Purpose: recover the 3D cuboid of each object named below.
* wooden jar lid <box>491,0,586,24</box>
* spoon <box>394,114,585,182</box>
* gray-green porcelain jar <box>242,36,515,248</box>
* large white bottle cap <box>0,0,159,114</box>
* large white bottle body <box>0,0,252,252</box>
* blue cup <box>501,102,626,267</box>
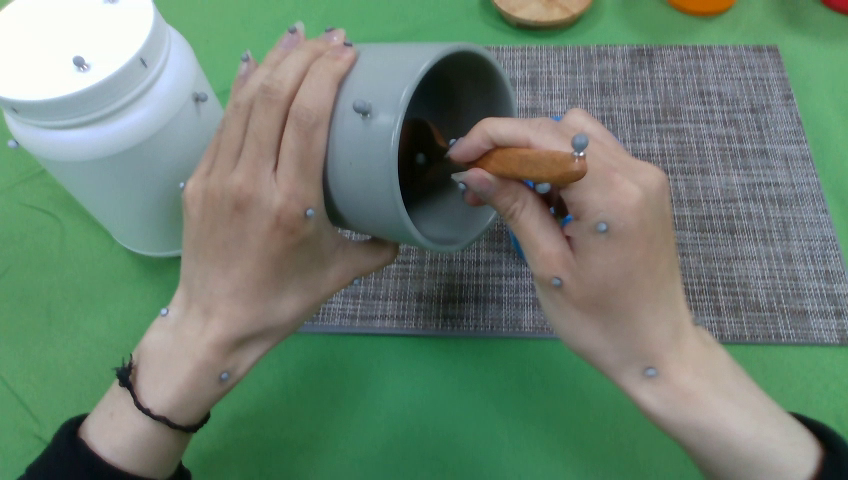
[{"bbox_3d":[0.116,-0.261,0.621,0.108,0.021,0.107,-1,60,3],"label":"wooden jar lid"},{"bbox_3d":[0.016,-0.043,0.308,0.022,0.192,0.041,8,98,-23],"label":"spoon"},{"bbox_3d":[-0.030,-0.058,0.340,0.125,0.107,0.105,14,61,37],"label":"gray-green porcelain jar"},{"bbox_3d":[-0.226,-0.128,0.380,0.115,0.018,0.114,-2,61,3],"label":"large white bottle cap"},{"bbox_3d":[-0.220,-0.087,0.455,0.130,0.186,0.129,-2,61,3],"label":"large white bottle body"},{"bbox_3d":[0.095,-0.029,0.444,0.092,0.101,0.092,-3,60,5],"label":"blue cup"}]
